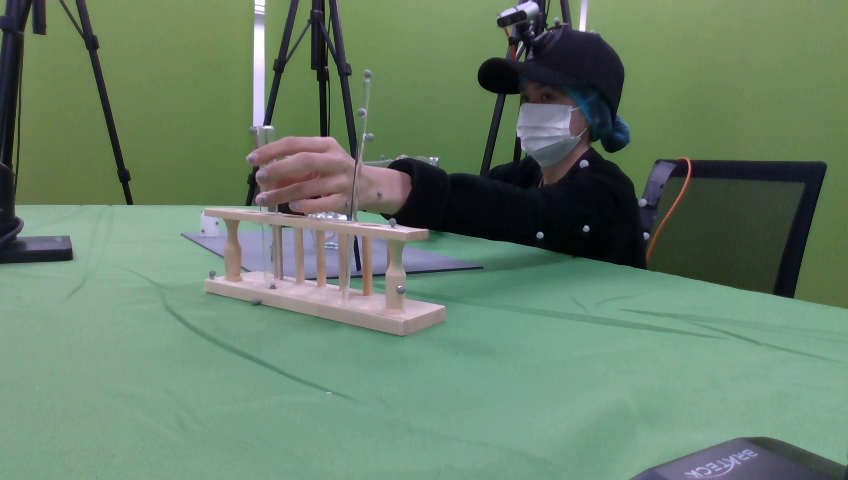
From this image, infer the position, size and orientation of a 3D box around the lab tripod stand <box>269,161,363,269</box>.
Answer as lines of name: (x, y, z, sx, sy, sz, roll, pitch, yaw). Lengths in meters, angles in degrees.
lab tripod stand: (-0.125, -0.036, 0.794, 0.148, 0.131, 0.148, 5, 7, 0)

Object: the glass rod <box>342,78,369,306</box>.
glass rod: (-0.059, -0.038, 0.522, 0.008, 0.199, 0.008, 6, 5, 0)

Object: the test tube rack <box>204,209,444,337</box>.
test tube rack: (-0.100, 0.021, 0.565, 0.241, 0.085, 0.067, 7, 9, 32)

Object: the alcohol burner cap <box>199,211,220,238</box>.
alcohol burner cap: (-0.356, -0.027, 1.002, 0.034, 0.048, 0.034, 2, 7, 0)

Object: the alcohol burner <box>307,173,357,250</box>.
alcohol burner: (-0.144, -0.045, 0.940, 0.078, 0.119, 0.078, 1, 8, 0)

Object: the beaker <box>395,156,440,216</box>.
beaker: (-0.009, -0.093, 1.040, 0.074, 0.100, 0.083, -5, 10, -39)

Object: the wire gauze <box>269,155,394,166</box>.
wire gauze: (-0.121, -0.102, 0.785, 0.122, 0.011, 0.124, -3, 10, -39)

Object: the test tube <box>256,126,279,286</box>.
test tube: (-0.145, -0.030, 0.564, 0.017, 0.150, 0.017, 0, 10, 0)
